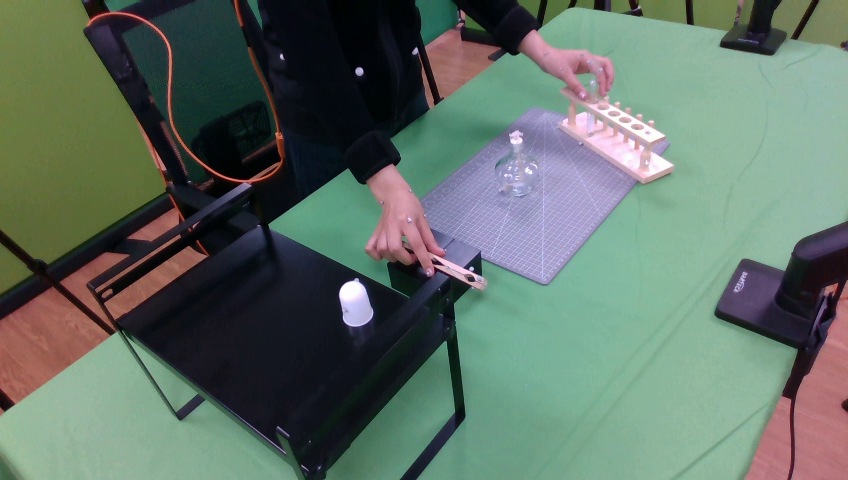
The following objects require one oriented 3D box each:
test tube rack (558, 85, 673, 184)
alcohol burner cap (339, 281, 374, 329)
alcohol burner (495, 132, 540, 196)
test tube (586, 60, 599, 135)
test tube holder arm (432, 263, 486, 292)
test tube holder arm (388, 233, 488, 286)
[{"bbox_3d":[0.347,-0.203,1.109,0.067,0.085,0.240,-22,42,-17],"label":"test tube rack"},{"bbox_3d":[-0.071,0.063,0.617,0.034,0.048,0.033,-4,39,4],"label":"alcohol burner cap"},{"bbox_3d":[0.160,-0.135,1.035,0.078,0.119,0.077,-5,42,5],"label":"alcohol burner"},{"bbox_3d":[0.306,-0.256,1.100,0.017,0.151,0.017,-6,44,6],"label":"test tube"},{"bbox_3d":[0.047,0.048,0.837,0.087,0.015,0.010,28,84,34],"label":"test tube holder arm"},{"bbox_3d":[0.017,0.026,0.862,0.177,0.015,0.013,27,83,34],"label":"test tube holder arm"}]
